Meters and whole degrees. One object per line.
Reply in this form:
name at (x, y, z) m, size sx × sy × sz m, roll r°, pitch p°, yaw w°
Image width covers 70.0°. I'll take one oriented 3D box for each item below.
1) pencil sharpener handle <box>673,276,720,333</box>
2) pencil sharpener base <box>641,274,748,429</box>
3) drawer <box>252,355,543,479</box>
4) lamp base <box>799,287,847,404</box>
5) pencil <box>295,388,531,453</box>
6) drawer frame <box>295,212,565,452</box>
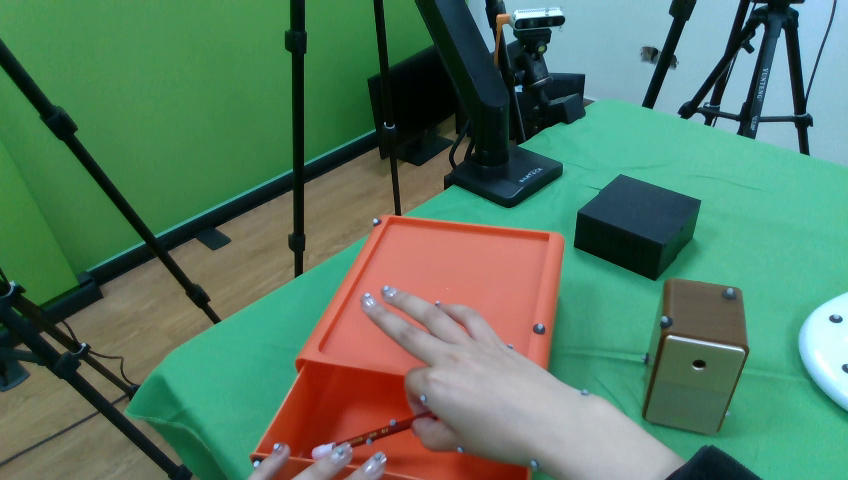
pencil sharpener handle at (0.233, 0.050, 0.530) m, size 0.036 × 0.068 × 0.030 m, roll 13°, pitch 40°, yaw 13°
pencil sharpener base at (0.219, 0.090, 0.499) m, size 0.061 × 0.108 × 0.076 m, roll 8°, pitch 39°, yaw 17°
drawer at (-0.001, 0.124, 0.501) m, size 0.194 × 0.074 × 0.210 m, roll 6°, pitch 38°, yaw 14°
lamp base at (0.415, 0.036, 0.491) m, size 0.160 × 0.182 × 0.178 m, roll 6°, pitch 36°, yaw 14°
pencil at (-0.012, 0.137, 0.461) m, size 0.194 × 0.012 × 0.012 m, roll -19°, pitch 35°, yaw 14°
drawer frame at (0.019, 0.071, 0.565) m, size 0.201 × 0.083 × 0.212 m, roll 6°, pitch 38°, yaw 14°
